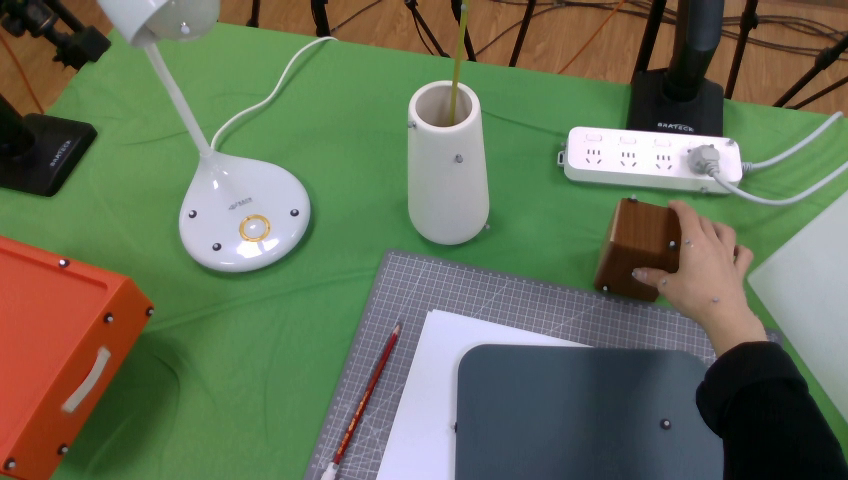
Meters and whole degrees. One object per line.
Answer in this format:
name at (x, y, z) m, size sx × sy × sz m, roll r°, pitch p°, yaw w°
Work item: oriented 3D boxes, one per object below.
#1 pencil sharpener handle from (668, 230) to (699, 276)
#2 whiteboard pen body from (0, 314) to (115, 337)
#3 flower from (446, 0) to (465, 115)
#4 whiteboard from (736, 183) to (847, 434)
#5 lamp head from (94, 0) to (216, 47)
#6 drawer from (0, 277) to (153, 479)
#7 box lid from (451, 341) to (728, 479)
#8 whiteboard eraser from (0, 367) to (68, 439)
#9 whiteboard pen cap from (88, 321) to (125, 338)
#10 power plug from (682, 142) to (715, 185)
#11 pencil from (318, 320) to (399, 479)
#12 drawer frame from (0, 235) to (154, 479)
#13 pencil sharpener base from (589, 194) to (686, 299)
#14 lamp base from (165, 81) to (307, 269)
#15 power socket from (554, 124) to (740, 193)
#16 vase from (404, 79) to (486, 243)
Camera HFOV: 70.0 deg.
pencil sharpener handle at (0.278, 0.015, 0.636) m, size 0.030 × 0.068 × 0.036 m, roll 14°, pitch 60°, yaw 11°
whiteboard pen body at (-0.389, 0.090, 0.629) m, size 0.141 × 0.017 × 0.017 m, roll 4°, pitch 59°, yaw 3°
flower at (0.027, -0.137, 0.606) m, size 0.038 × 0.365 × 0.043 m, roll 2°, pitch 41°, yaw -4°
whiteboard at (0.495, 0.028, 0.551) m, size 0.144 × 0.307 × 0.215 m, roll -7°, pitch 56°, yaw -23°
lamp head at (-0.208, -0.218, 0.435) m, size 0.112 × 0.112 × 0.123 m, roll -45°, pitch 104°, yaw -21°
drawer at (-0.417, 0.104, 0.597) m, size 0.211 × 0.074 × 0.193 m, roll 16°, pitch 62°, yaw 12°
box lid at (0.155, 0.267, 0.560) m, size 0.263 × 0.015 × 0.368 m, roll 1°, pitch 60°, yaw 3°
whiteboard eraser at (-0.405, 0.154, 0.586) m, size 0.112 × 0.042 × 0.055 m, roll 7°, pitch 53°, yaw 16°
whiteboard pen cap at (-0.328, 0.093, 0.624) m, size 0.033 × 0.018 × 0.018 m, roll 0°, pitch 58°, yaw 12°
power plug at (0.325, -0.086, 0.725) m, size 0.035 × 0.053 × 0.072 m, roll 15°, pitch 62°, yaw 13°
pencil at (-0.065, 0.166, 0.633) m, size 0.012 × 0.012 × 0.193 m, roll 18°, pitch 60°, yaw 14°
drawer frame at (-0.423, 0.105, 0.600) m, size 0.213 × 0.083 × 0.200 m, roll 16°, pitch 61°, yaw 10°
pencil sharpener base at (0.230, 0.010, 0.656) m, size 0.076 × 0.108 × 0.061 m, roll 14°, pitch 60°, yaw 11°
lamp base at (-0.239, -0.082, 0.693) m, size 0.160 × 0.182 × 0.177 m, roll -37°, pitch 61°, yaw -18°
power socket at (0.280, -0.104, 0.765) m, size 0.226 × 0.033 × 0.071 m, roll 6°, pitch 60°, yaw 6°
vase at (0.020, -0.081, 0.668) m, size 0.098 × 0.202 × 0.097 m, roll -2°, pitch 58°, yaw 4°
